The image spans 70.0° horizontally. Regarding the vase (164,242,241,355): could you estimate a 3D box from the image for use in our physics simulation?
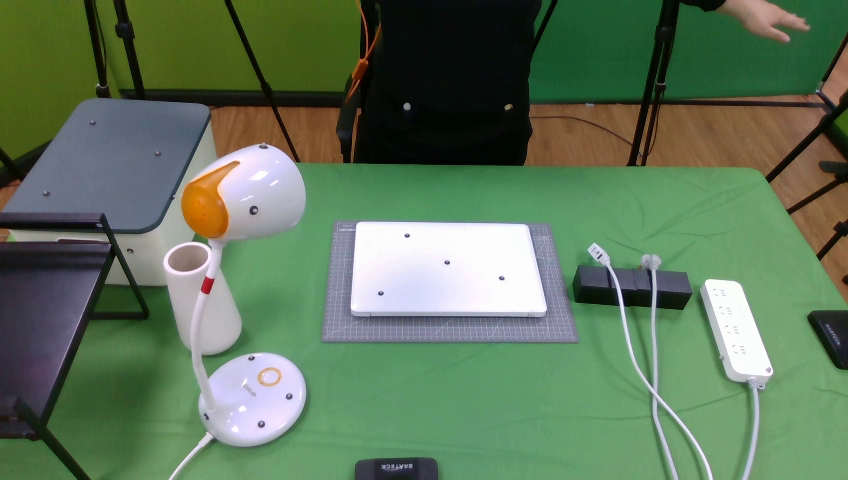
[{"bbox_3d":[-0.349,0.096,0.954,0.098,0.201,0.097,3,47,-3],"label":"vase"}]

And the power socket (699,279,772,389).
[{"bbox_3d":[0.551,0.157,1.081,0.072,0.033,0.225,5,46,1],"label":"power socket"}]

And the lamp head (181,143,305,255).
[{"bbox_3d":[-0.216,-0.044,0.697,0.112,0.113,0.123,23,31,17],"label":"lamp head"}]

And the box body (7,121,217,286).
[{"bbox_3d":[-0.560,-0.092,1.145,0.254,0.161,0.361,3,46,-2],"label":"box body"}]

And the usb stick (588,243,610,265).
[{"bbox_3d":[0.336,0.024,1.172,0.027,0.021,0.059,33,16,-13],"label":"usb stick"}]

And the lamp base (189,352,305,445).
[{"bbox_3d":[-0.268,0.196,0.876,0.160,0.181,0.179,26,52,20],"label":"lamp base"}]

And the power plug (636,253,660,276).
[{"bbox_3d":[0.415,0.050,1.139,0.035,0.053,0.072,46,48,10],"label":"power plug"}]

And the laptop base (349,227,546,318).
[{"bbox_3d":[0.040,0.056,1.149,0.355,0.023,0.234,1,43,-4],"label":"laptop base"}]

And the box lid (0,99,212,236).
[{"bbox_3d":[-0.556,-0.143,1.090,0.263,0.015,0.369,2,46,-1],"label":"box lid"}]

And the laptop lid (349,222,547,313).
[{"bbox_3d":[0.041,0.045,1.143,0.357,0.013,0.240,2,44,-3],"label":"laptop lid"}]

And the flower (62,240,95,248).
[{"bbox_3d":[-0.557,-0.053,1.195,0.044,0.038,0.361,47,54,2],"label":"flower"}]
